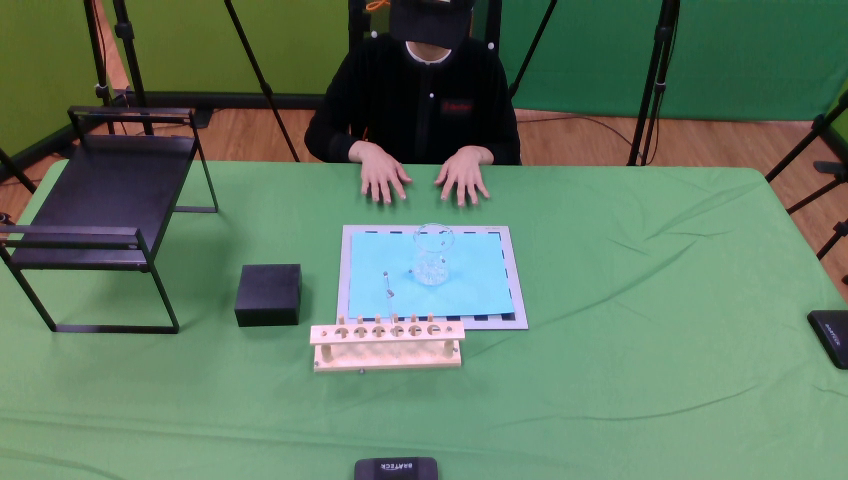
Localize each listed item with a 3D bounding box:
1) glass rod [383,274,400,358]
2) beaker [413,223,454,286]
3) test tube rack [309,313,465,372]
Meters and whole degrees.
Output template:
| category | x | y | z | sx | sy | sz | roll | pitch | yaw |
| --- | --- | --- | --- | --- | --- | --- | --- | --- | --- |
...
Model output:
| category | x | y | z | sx | sy | sz | roll | pitch | yaw |
| --- | --- | --- | --- | --- | --- | --- | --- | --- | --- |
| glass rod | -0.049 | 0.122 | 0.936 | 0.008 | 0.201 | 0.008 | -3 | 43 | 3 |
| beaker | 0.018 | 0.028 | 1.109 | 0.084 | 0.101 | 0.073 | -34 | 57 | -31 |
| test tube rack | -0.059 | 0.161 | 0.990 | 0.242 | 0.085 | 0.066 | -1 | 46 | -5 |
